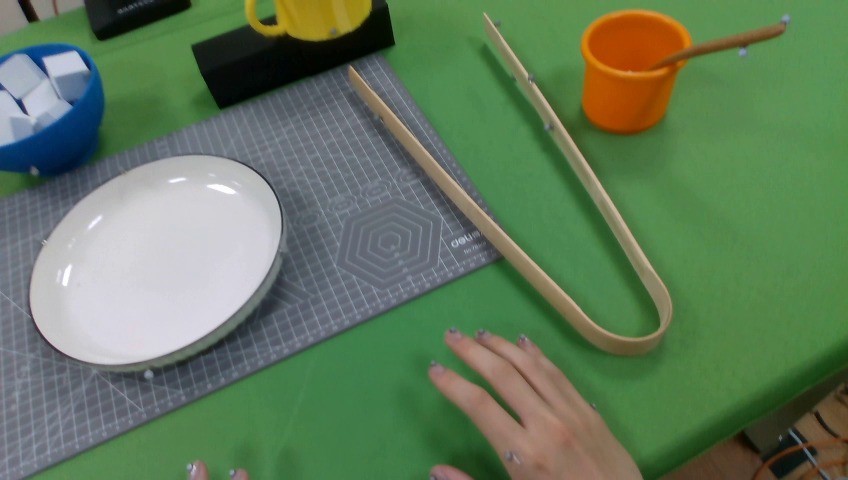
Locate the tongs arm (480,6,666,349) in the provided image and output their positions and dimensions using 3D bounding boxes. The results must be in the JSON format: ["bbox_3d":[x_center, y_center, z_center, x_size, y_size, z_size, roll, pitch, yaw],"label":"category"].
[{"bbox_3d":[0.106,-0.082,0.529,0.051,0.027,0.380,-20,57,-7],"label":"tongs arm"}]

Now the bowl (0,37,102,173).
[{"bbox_3d":[-0.379,-0.119,0.593,0.151,0.077,0.150,-4,55,6],"label":"bowl"}]

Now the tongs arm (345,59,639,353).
[{"bbox_3d":[0.032,-0.048,0.517,0.028,0.028,0.383,-30,58,-18],"label":"tongs arm"}]

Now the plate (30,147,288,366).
[{"bbox_3d":[-0.212,0.011,0.503,0.207,0.039,0.205,-4,56,6],"label":"plate"}]

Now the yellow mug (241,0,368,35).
[{"bbox_3d":[-0.123,-0.253,0.596,0.131,0.064,0.099,-38,59,-16],"label":"yellow mug"}]

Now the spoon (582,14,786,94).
[{"bbox_3d":[0.199,-0.150,0.493,0.041,0.193,0.022,-45,105,-18],"label":"spoon"}]
